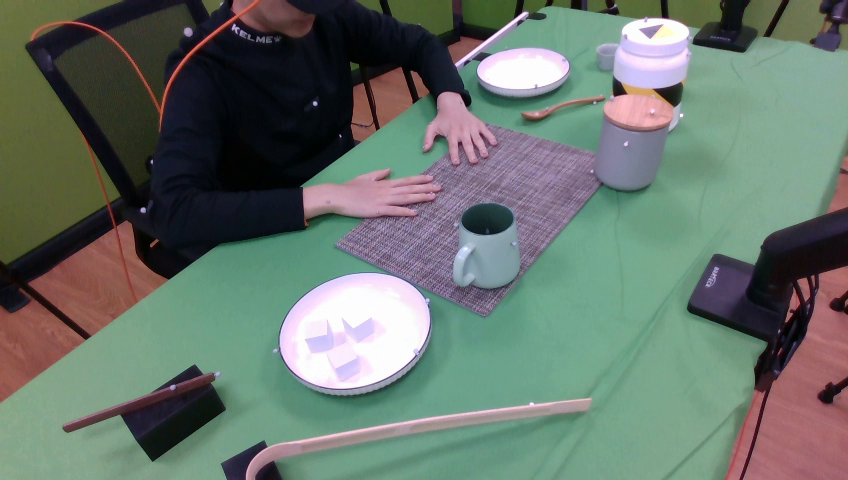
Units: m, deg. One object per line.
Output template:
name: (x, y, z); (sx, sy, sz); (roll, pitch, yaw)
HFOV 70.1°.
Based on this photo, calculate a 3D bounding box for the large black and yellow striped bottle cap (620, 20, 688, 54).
large black and yellow striped bottle cap: (0.411, -0.363, 1.080); (0.115, 0.019, 0.114); (-3, 42, 4)

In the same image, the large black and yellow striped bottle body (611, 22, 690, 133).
large black and yellow striped bottle body: (0.420, -0.300, 1.132); (0.131, 0.185, 0.130); (-4, 41, 4)

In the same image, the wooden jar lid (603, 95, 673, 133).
wooden jar lid: (0.343, -0.200, 0.974); (0.108, 0.021, 0.108); (-2, 39, 2)

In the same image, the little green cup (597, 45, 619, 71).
little green cup: (0.423, -0.413, 1.376); (0.061, 0.039, 0.061); (-4, 41, 4)

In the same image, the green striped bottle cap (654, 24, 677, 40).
green striped bottle cap: (0.495, -0.426, 1.237); (0.044, 0.020, 0.044); (-5, 42, 5)

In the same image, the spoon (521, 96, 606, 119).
spoon: (0.291, -0.277, 1.249); (0.194, 0.022, 0.041); (-18, 24, -11)

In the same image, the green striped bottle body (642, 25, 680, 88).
green striped bottle body: (0.499, -0.387, 1.271); (0.063, 0.120, 0.063); (-4, 41, 4)

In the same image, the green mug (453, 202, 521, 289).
green mug: (0.084, 0.019, 0.867); (0.092, 0.105, 0.125); (23, 49, 30)

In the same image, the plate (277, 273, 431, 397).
plate: (-0.092, 0.129, 0.821); (0.207, 0.039, 0.206); (-4, 40, 4)

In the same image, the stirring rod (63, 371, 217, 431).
stirring rod: (-0.337, 0.192, 0.723); (0.177, 0.014, 0.005); (-18, 43, -12)

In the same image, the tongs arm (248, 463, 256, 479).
tongs arm: (0.012, 0.262, 0.615); (0.385, 0.026, 0.050); (2, 42, -2)

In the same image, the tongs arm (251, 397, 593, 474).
tongs arm: (0.008, 0.212, 0.675); (0.389, 0.028, 0.028); (-5, 46, -11)

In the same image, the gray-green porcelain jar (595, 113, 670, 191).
gray-green porcelain jar: (0.346, -0.155, 1.017); (0.106, 0.127, 0.105); (-2, 43, 2)

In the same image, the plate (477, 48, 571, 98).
plate: (0.223, -0.371, 1.357); (0.209, 0.038, 0.208); (-4, 41, 4)
